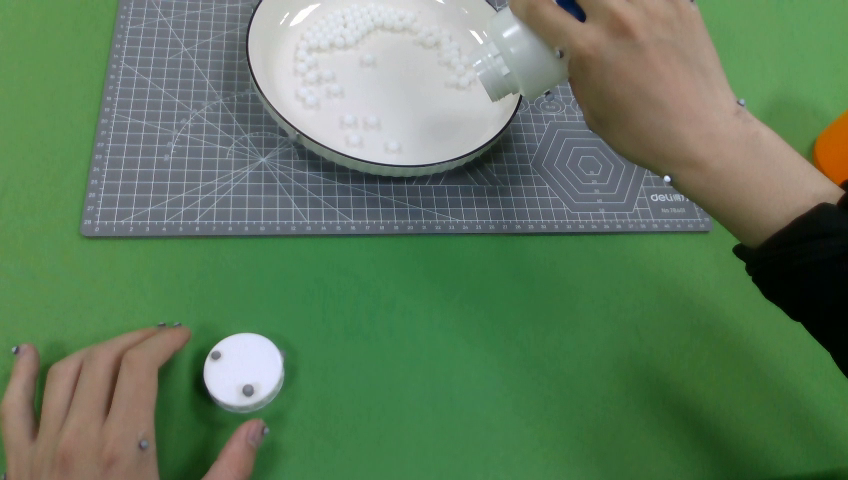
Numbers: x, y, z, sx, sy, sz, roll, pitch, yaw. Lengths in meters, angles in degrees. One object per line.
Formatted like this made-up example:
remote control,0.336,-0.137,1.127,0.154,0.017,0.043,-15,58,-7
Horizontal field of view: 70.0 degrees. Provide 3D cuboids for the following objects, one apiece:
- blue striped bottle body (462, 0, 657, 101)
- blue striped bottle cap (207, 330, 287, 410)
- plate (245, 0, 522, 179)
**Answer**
blue striped bottle body,0.087,-0.141,0.409,0.121,0.063,0.062,-29,68,12
blue striped bottle cap,-0.104,0.076,0.357,0.045,0.021,0.044,4,65,-8
plate,-0.028,-0.130,0.463,0.208,0.039,0.206,5,62,-9
